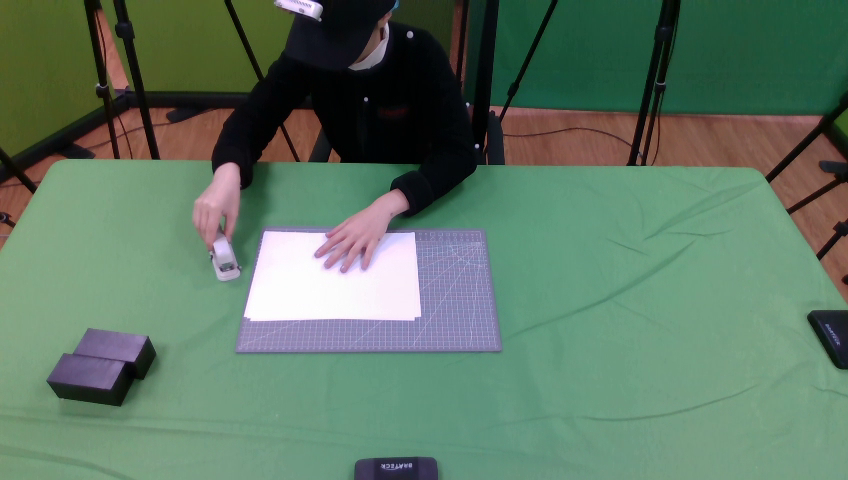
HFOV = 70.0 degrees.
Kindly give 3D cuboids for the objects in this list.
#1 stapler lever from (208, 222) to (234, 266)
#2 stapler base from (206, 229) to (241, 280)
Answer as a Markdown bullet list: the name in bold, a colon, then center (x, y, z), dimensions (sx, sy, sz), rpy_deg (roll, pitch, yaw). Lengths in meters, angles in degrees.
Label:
- **stapler lever**: center (-0.380, 0.002, 1.129), dimensions (0.027, 0.040, 0.117), rpy_deg (-15, 47, -21)
- **stapler base**: center (-0.381, 0.021, 1.146), dimensions (0.041, 0.024, 0.129), rpy_deg (-15, 48, -22)
